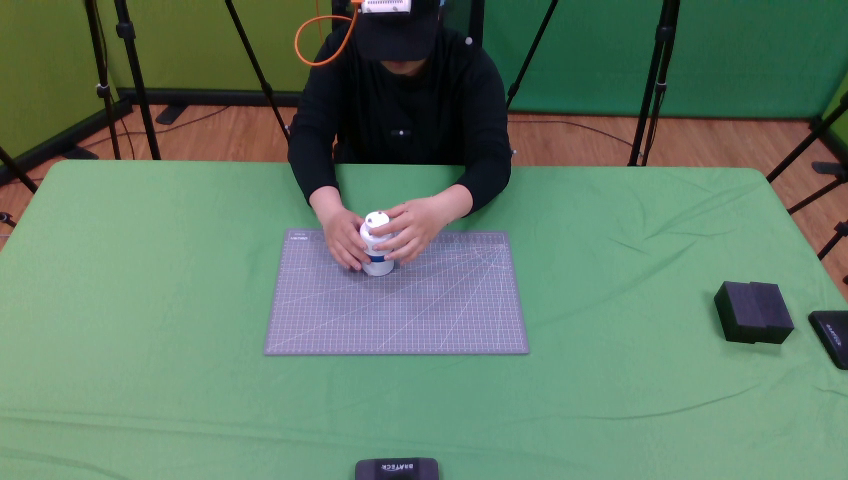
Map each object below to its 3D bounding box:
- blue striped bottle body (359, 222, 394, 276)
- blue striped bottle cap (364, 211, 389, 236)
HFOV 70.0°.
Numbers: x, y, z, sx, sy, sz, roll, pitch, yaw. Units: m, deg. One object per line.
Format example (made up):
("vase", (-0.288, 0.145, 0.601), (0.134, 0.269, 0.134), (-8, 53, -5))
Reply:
("blue striped bottle body", (-0.087, 0.006, 1.114), (0.063, 0.121, 0.062), (2, 45, -2))
("blue striped bottle cap", (-0.084, -0.030, 1.078), (0.044, 0.021, 0.044), (2, 47, -2))
